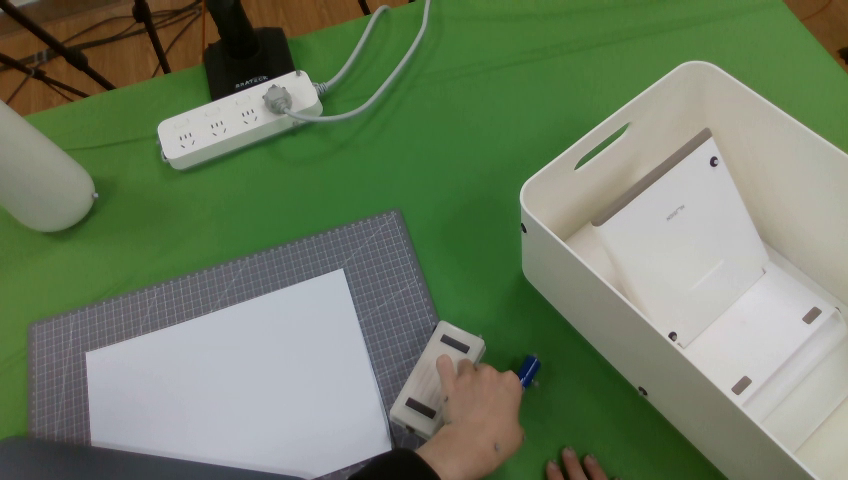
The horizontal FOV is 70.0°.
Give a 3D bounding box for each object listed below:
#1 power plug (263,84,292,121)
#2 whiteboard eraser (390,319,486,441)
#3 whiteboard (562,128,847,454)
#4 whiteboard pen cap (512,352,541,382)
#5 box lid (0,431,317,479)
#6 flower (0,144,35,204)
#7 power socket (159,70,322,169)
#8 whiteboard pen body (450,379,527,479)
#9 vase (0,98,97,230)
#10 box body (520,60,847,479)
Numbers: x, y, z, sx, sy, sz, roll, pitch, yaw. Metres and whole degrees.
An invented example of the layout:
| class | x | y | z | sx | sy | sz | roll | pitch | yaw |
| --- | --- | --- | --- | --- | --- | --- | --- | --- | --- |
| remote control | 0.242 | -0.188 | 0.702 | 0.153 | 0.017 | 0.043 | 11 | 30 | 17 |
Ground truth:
| class | x | y | z | sx | sy | sz | roll | pitch | yaw |
| --- | --- | --- | --- | --- | --- | --- | --- | --- | --- |
| power plug | -0.185 | -0.167 | 0.777 | 0.035 | 0.053 | 0.072 | -13 | 68 | -2 |
| whiteboard eraser | 0.015 | 0.139 | 0.611 | 0.055 | 0.042 | 0.112 | 23 | 67 | 17 |
| whiteboard | 0.289 | 0.034 | 0.589 | 0.217 | 0.145 | 0.303 | -37 | 64 | -17 |
| whiteboard pen cap | 0.103 | 0.131 | 0.615 | 0.018 | 0.018 | 0.033 | 30 | 71 | 20 |
| box lid | -0.291 | 0.329 | 0.560 | 0.371 | 0.015 | 0.261 | 5 | 63 | 8 |
| flower | -0.457 | -0.131 | 0.620 | 0.038 | 0.363 | 0.044 | 30 | 58 | 1 |
| power socket | -0.242 | -0.161 | 0.804 | 0.227 | 0.033 | 0.071 | -22 | 63 | -7 |
| whiteboard pen body | 0.070 | 0.176 | 0.596 | 0.017 | 0.017 | 0.140 | 31 | 72 | 20 |
| vase | -0.471 | -0.093 | 0.695 | 0.098 | 0.202 | 0.097 | -3 | 61 | 6 |
| box body | 0.293 | 0.039 | 0.574 | 0.254 | 0.162 | 0.361 | -37 | 65 | -14 |
